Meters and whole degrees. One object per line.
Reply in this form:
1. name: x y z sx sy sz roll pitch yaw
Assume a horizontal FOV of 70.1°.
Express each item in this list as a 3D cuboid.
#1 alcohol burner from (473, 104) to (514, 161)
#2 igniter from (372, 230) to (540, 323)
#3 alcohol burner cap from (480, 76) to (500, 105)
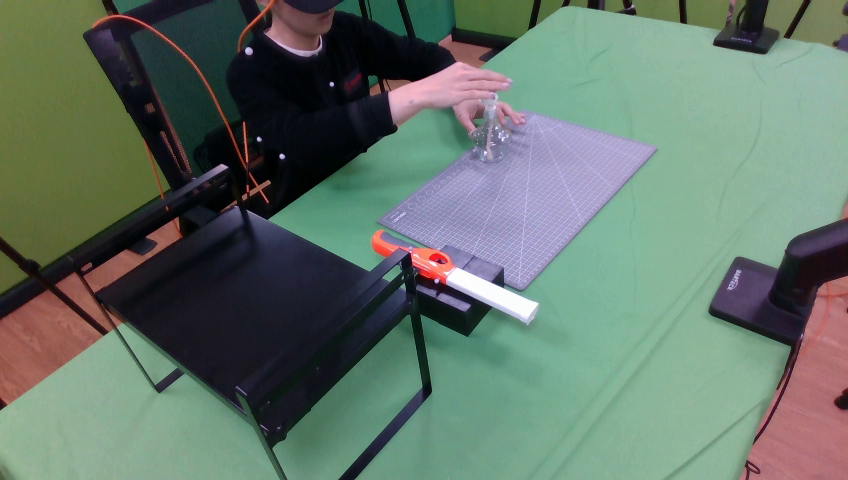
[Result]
1. alcohol burner: 0.128 -0.208 1.123 0.078 0.119 0.077 -5 39 5
2. igniter: 0.032 0.045 0.842 0.274 0.025 0.057 24 47 28
3. alcohol burner cap: 0.114 -0.264 1.059 0.034 0.048 0.033 -8 53 11
